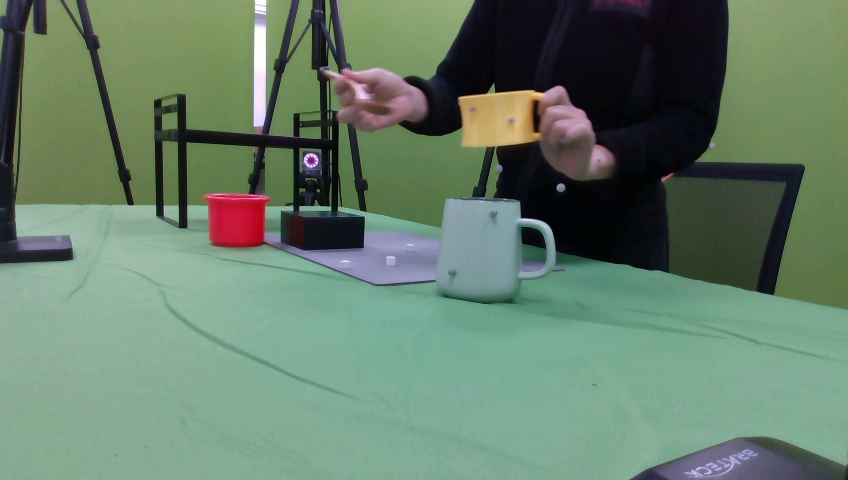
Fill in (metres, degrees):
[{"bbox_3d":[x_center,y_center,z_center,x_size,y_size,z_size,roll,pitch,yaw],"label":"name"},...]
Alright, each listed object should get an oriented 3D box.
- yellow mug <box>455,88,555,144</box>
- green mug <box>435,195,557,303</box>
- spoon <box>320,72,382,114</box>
[{"bbox_3d":[0.107,-0.164,0.791,0.130,0.064,0.100,1,14,25],"label":"yellow mug"},{"bbox_3d":[0.074,0.009,0.624,0.125,0.105,0.093,5,7,23],"label":"green mug"},{"bbox_3d":[-0.102,-0.198,0.796,0.042,0.021,0.193,12,22,-32],"label":"spoon"}]
